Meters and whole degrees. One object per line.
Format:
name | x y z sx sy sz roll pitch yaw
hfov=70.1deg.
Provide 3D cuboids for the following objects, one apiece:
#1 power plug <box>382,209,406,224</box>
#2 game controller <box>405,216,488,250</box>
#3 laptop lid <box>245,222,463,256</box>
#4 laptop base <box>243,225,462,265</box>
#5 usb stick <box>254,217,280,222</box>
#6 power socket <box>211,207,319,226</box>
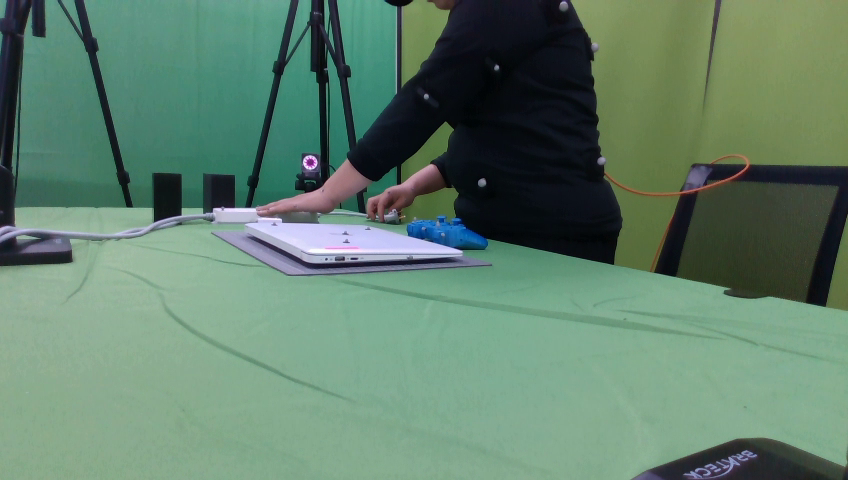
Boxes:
power plug | -0.073 -0.061 1.423 0.053 0.035 0.072 -15 22 -10
game controller | 0.035 -0.013 1.067 0.097 0.051 0.154 -6 10 -29
laptop lid | -0.126 -0.005 0.951 0.243 0.013 0.355 1 7 -28
laptop base | -0.128 0.007 0.952 0.237 0.023 0.352 2 6 -30
usb stick | -0.296 -0.028 1.114 0.059 0.027 0.021 -4 12 -30
power socket | -0.335 -0.051 1.282 0.228 0.032 0.072 -1 10 -29
